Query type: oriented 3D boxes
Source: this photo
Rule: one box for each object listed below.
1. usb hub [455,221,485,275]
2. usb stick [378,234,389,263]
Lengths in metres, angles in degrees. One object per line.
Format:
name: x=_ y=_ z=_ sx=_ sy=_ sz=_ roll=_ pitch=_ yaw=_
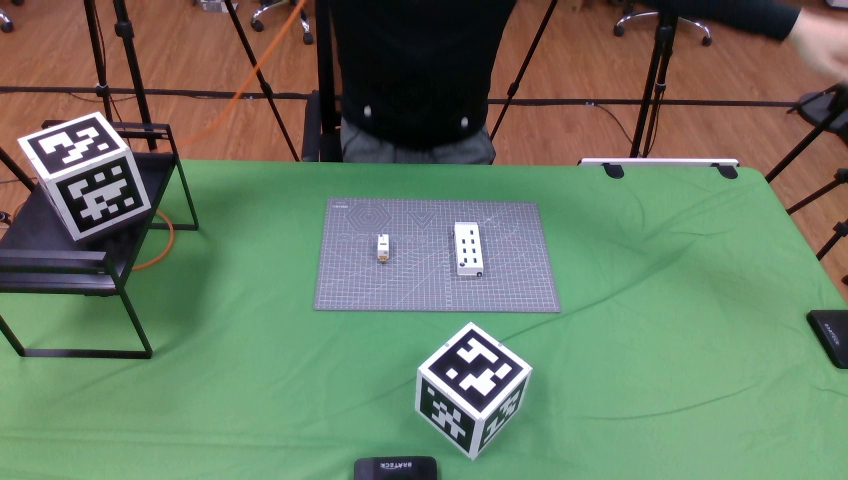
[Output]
usb hub: x=0.088 y=0.014 z=1.178 sx=0.049 sy=0.025 sz=0.124 roll=0 pitch=46 yaw=-2
usb stick: x=-0.078 y=0.017 z=1.163 sx=0.021 sy=0.027 sz=0.059 roll=2 pitch=48 yaw=-3
